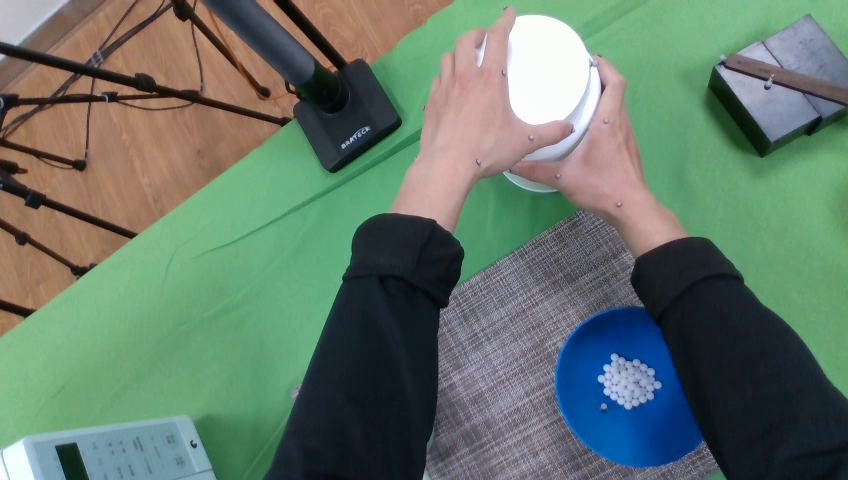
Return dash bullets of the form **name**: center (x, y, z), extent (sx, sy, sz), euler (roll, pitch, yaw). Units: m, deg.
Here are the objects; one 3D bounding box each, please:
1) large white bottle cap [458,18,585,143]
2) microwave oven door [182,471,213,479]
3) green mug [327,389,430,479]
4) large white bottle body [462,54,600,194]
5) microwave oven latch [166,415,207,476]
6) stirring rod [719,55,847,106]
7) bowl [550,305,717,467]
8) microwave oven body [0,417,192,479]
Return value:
- **large white bottle cap**: center (0.088, -0.146, 0.551), extent (0.114, 0.018, 0.114), euler (-3, 80, 17)
- **microwave oven door**: center (-0.232, 0.422, 0.602), extent (0.039, 0.245, 0.353), euler (-35, 72, 9)
- **green mug**: center (-0.038, 0.225, 0.660), extent (0.092, 0.105, 0.124), euler (-41, 71, 7)
- **large white bottle body**: center (0.114, -0.131, 0.631), extent (0.130, 0.186, 0.130), euler (-3, 80, 18)
- **microwave oven latch**: center (-0.305, 0.260, 0.762), extent (0.030, 0.030, 0.078), euler (-34, 73, 9)
- **stirring rod**: center (0.376, -0.148, 0.587), extent (0.175, 0.006, 0.014), euler (26, 124, 20)
- **bowl**: center (0.207, 0.143, 0.608), extent (0.151, 0.077, 0.151), euler (-3, 80, 18)
- **microwave oven body**: center (-0.370, 0.469, 0.645), extent (0.326, 0.262, 0.438), euler (-34, 73, 9)
